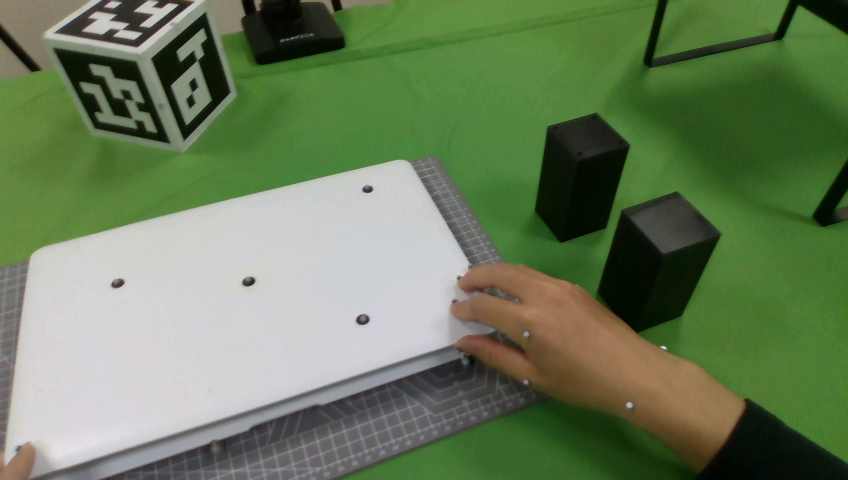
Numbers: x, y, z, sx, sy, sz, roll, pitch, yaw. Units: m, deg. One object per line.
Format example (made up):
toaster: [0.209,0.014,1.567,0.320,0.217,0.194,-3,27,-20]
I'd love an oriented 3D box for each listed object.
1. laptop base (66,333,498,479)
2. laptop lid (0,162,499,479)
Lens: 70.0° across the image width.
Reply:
laptop base: [-0.143,0.055,0.513,0.355,0.023,0.233,-16,52,-14]
laptop lid: [-0.143,0.041,0.496,0.357,0.013,0.239,-15,46,-13]
